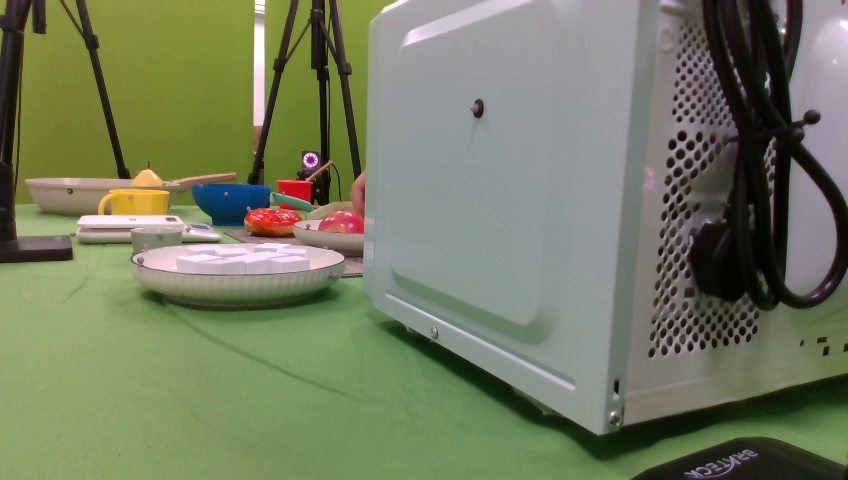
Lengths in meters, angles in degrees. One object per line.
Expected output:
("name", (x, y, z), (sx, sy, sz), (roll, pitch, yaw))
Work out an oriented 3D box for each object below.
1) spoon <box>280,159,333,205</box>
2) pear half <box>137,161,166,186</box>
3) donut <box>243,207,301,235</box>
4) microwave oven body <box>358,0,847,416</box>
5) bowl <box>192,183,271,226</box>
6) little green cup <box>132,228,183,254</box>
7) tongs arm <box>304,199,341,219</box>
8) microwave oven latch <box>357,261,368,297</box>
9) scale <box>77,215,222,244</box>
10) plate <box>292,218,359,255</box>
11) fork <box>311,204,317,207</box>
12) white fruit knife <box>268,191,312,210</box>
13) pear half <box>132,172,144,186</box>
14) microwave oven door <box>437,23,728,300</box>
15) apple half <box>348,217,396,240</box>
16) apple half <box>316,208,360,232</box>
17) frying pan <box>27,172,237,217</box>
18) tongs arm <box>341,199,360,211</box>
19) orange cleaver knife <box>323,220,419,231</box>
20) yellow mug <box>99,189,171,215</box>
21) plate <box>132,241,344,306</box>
("spoon", (-0.316, -0.159, 1.640), (0.194, 0.022, 0.041), (-49, 32, -20))
("pear half", (-0.602, -0.120, 1.354), (0.056, 0.110, 0.076), (4, 11, 6))
("donut", (-0.261, -0.032, 1.043), (0.099, 0.048, 0.099), (4, 9, 0))
("microwave oven body", (0.211, -0.047, 0.474), (0.444, 0.260, 0.324), (-1, 7, -28))
("bowl", (-0.382, -0.071, 1.202), (0.151, 0.077, 0.151), (3, 7, 0))
("little green cup", (-0.342, 0.006, 0.779), (0.061, 0.038, 0.061), (2, 8, 0))
("tongs arm", (-0.235, -0.071, 1.414), (0.028, 0.028, 0.387), (-4, 8, 1))
("microwave oven latch", (-0.019, 0.033, 0.531), (0.079, 0.029, 0.030), (-1, 7, -27))
("scale", (-0.434, -0.019, 0.963), (0.202, 0.031, 0.148), (-1, 9, -27))
("plate", (-0.098, -0.007, 0.928), (0.209, 0.038, 0.209), (2, 7, 0))
("fork", (-0.356, -0.105, 1.526), (0.208, 0.018, 0.028), (16, -5, -41))
("white fruit knife", (-0.364, -0.105, 1.464), (0.208, 0.027, 0.016), (15, 0, -34))
("pear half", (-0.638, -0.113, 1.361), (0.031, 0.088, 0.070), (5, 11, 4))
("microwave oven door", (0.180, -0.072, 0.621), (0.358, 0.243, 0.039), (-2, 8, -29))
("apple half", (-0.084, -0.020, 0.971), (0.081, 0.033, 0.081), (-1, 7, 0))
("apple half", (-0.122, -0.020, 0.901), (0.080, 0.053, 0.075), (5, 11, 22))
("frying pan", (-0.624, -0.118, 1.387), (0.305, 0.102, 0.490), (8, 17, 32))
("tongs arm", (-0.148, -0.071, 1.429), (0.051, 0.026, 0.383), (-2, 9, -15))
("orange cleaver knife", (-0.096, -0.026, 1.152), (0.077, 0.012, 0.212), (3, 7, 41))
("yellow mug", (-0.518, -0.055, 1.080), (0.099, 0.064, 0.131), (6, 9, 26))
("plate", (-0.187, 0.033, 0.625), (0.208, 0.039, 0.207), (2, 8, 0))
